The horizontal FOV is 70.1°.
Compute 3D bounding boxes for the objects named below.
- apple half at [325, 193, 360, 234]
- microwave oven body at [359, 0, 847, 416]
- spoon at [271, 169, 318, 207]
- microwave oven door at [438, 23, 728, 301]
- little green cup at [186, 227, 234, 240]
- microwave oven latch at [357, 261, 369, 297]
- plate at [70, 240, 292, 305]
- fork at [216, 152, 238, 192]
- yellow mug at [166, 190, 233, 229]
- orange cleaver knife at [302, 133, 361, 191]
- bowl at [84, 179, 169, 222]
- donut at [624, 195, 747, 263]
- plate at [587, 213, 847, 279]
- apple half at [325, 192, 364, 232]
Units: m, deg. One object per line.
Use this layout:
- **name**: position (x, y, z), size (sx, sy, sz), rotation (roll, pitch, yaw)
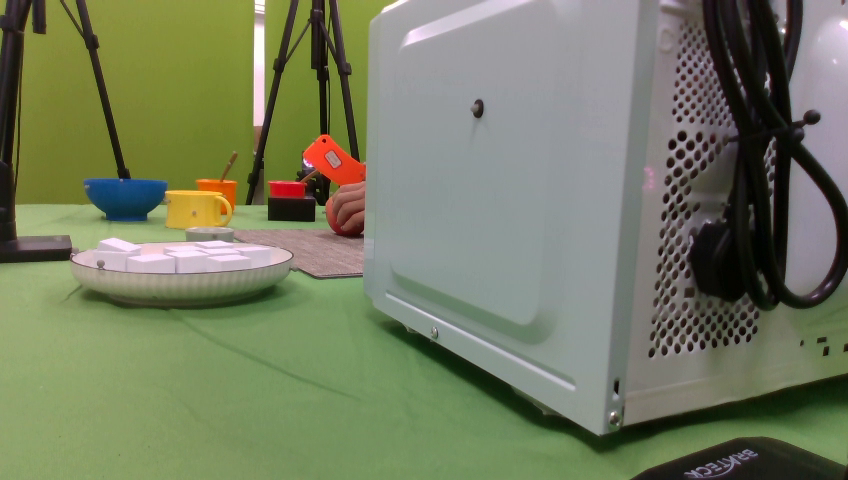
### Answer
- **apple half**: position (-0.133, -0.047, 1.087), size (0.081, 0.074, 0.053), rotation (3, 11, -27)
- **microwave oven body**: position (0.211, -0.047, 0.474), size (0.444, 0.260, 0.324), rotation (-1, 7, -28)
- **spoon**: position (-0.307, -0.141, 1.513), size (0.193, 0.021, 0.041), rotation (-42, 2, 8)
- **microwave oven door**: position (0.181, -0.072, 0.621), size (0.358, 0.243, 0.039), rotation (-2, 8, -29)
- **little green cup**: position (-0.284, 0.005, 0.805), size (0.061, 0.038, 0.061), rotation (2, 8, 0)
- **microwave oven latch**: position (-0.019, 0.033, 0.530), size (0.079, 0.029, 0.030), rotation (-1, 7, -27)
- **plate**: position (-0.242, 0.032, 0.618), size (0.208, 0.039, 0.207), rotation (2, 8, 0)
- **fork**: position (-0.455, -0.132, 1.367), size (0.028, 0.018, 0.207), rotation (-2, -35, -37)
- **yellow mug**: position (-0.415, -0.057, 1.132), size (0.130, 0.064, 0.100), rotation (6, 8, 16)
- **orange cleaver knife**: position (-0.149, -0.142, 1.251), size (0.212, 0.077, 0.012), rotation (31, -3, -23)
- **bowl**: position (-0.584, -0.078, 1.194), size (0.151, 0.077, 0.151), rotation (3, 8, 0)
- **donut**: position (0.221, -0.007, 0.518), size (0.099, 0.048, 0.099), rotation (18, 1, 0)
- **plate**: position (0.244, 0.002, 0.512), size (0.209, 0.038, 0.209), rotation (1, 7, 0)
- **apple half**: position (-0.152, -0.053, 1.121), size (0.082, 0.081, 0.032), rotation (-2, 12, -27)
